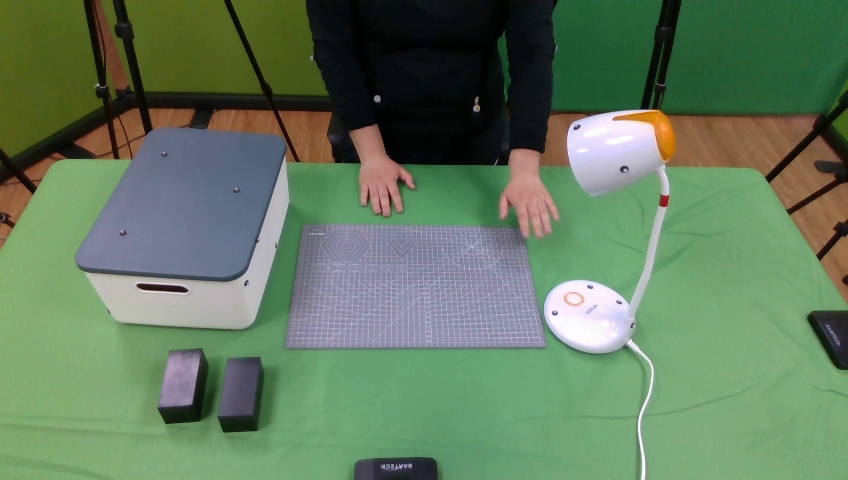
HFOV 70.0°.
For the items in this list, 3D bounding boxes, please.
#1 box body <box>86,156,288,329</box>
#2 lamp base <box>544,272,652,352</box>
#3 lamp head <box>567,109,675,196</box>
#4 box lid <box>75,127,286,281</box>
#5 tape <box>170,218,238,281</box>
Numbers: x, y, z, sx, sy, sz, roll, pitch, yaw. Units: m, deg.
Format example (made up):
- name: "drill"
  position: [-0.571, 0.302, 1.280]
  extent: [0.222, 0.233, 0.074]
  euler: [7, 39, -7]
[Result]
- name: "box body"
  position: [-0.401, -0.025, 1.094]
  extent: [0.254, 0.161, 0.362]
  euler: [3, 46, -1]
- name: "lamp base"
  position: [0.309, 0.086, 1.029]
  extent: [0.178, 0.181, 0.160]
  euler: [32, 52, 21]
- name: "lamp head"
  position: [0.272, -0.123, 0.818]
  extent: [0.122, 0.113, 0.112]
  euler: [-9, 35, 37]
- name: "box lid"
  position: [-0.398, -0.075, 1.039]
  extent: [0.263, 0.015, 0.369]
  euler: [4, 45, -1]
- name: "tape"
  position: [-0.406, 0.017, 1.121]
  extent: [0.117, 0.053, 0.116]
  euler: [2, 46, -2]
